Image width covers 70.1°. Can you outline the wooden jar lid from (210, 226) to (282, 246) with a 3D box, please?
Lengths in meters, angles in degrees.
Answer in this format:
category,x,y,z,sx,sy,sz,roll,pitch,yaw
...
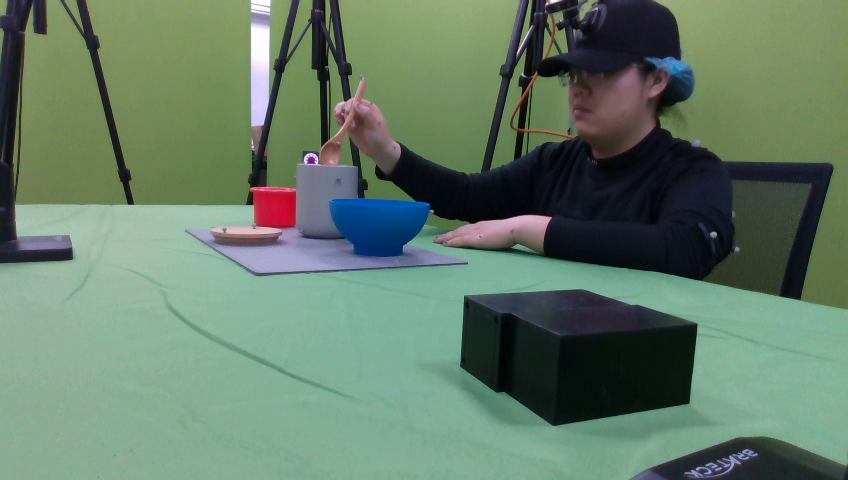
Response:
category,x,y,z,sx,sy,sz,roll,pitch,yaw
wooden jar lid,-0.279,-0.007,0.951,0.108,0.020,0.108,2,8,0

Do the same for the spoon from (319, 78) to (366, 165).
category,x,y,z,sx,sy,sz,roll,pitch,yaw
spoon,-0.138,-0.205,1.063,0.021,0.193,0.042,4,-25,47

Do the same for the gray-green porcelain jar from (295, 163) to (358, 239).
category,x,y,z,sx,sy,sz,roll,pitch,yaw
gray-green porcelain jar,-0.170,-0.069,1.054,0.106,0.126,0.106,3,7,0

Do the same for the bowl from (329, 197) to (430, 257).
category,x,y,z,sx,sy,sz,roll,pitch,yaw
bowl,-0.067,-0.019,0.895,0.151,0.077,0.151,3,7,0
